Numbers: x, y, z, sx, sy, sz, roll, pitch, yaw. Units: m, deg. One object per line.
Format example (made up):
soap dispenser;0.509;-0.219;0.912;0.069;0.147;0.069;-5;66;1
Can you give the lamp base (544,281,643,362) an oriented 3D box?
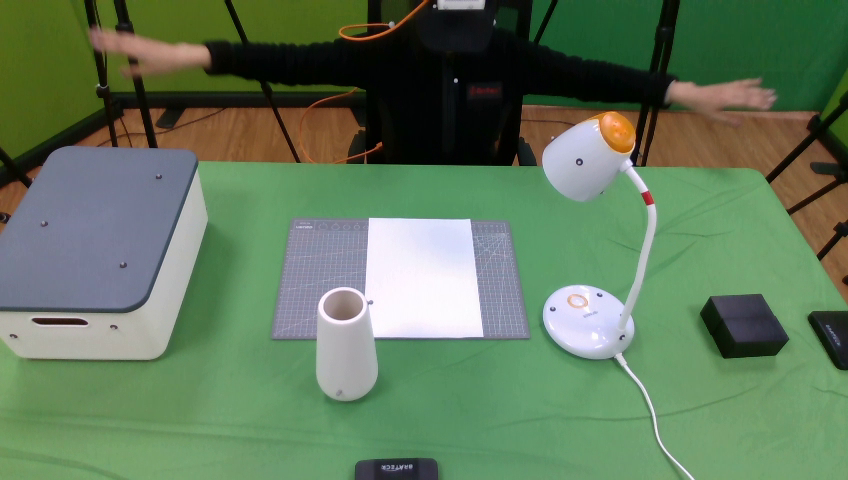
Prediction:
lamp base;0.304;0.095;1.014;0.161;0.181;0.178;-24;54;-24

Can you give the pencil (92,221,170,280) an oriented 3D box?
pencil;-0.552;0.015;1.154;0.012;0.012;0.193;20;42;15

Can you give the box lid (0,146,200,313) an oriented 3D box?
box lid;-0.536;-0.034;0.989;0.263;0.015;0.369;1;46;-3

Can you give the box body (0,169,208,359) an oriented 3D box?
box body;-0.541;0.021;1.042;0.254;0.161;0.361;1;46;-3

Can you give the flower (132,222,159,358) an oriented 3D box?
flower;-0.505;0.073;1.094;0.044;0.038;0.359;-41;43;10

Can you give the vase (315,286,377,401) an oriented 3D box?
vase;-0.119;0.159;0.911;0.098;0.201;0.097;2;47;-2

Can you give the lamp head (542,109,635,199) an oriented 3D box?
lamp head;0.253;-0.131;0.893;0.113;0.123;0.112;10;66;-24
